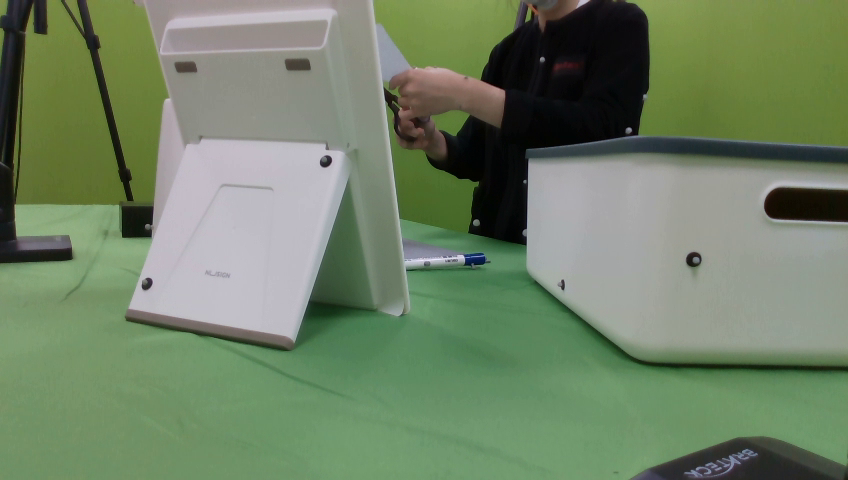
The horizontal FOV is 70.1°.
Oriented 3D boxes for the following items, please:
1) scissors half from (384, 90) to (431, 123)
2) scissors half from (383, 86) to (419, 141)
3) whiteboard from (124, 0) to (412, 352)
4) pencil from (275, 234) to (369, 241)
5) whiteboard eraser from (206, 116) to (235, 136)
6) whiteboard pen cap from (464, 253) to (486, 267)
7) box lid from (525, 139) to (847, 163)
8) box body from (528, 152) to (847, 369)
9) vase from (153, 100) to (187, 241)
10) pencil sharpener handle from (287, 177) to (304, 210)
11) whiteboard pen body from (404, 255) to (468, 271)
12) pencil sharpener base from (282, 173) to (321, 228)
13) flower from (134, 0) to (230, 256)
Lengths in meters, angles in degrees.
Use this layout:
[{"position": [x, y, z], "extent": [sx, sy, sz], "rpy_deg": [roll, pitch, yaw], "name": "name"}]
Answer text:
[{"position": [-0.052, -0.254, 1.057], "extent": [0.176, 0.040, 0.013], "rpy_deg": [22, -2, -39], "name": "scissors half"}, {"position": [-0.063, -0.237, 1.055], "extent": [0.012, 0.040, 0.176], "rpy_deg": [27, -19, 52], "name": "scissors half"}, {"position": [-0.151, -0.049, 0.472], "extent": [0.216, 0.305, 0.144], "rpy_deg": [6, 27, 24], "name": "whiteboard"}, {"position": [-0.169, -0.006, 1.036], "extent": [0.195, 0.012, 0.012], "rpy_deg": [-2, 8, -45], "name": "pencil"}, {"position": [-0.450, -0.252, 1.335], "extent": [0.056, 0.042, 0.112], "rpy_deg": [1, 7, -22], "name": "whiteboard eraser"}, {"position": [0.066, 0.027, 0.818], "extent": [0.033, 0.018, 0.018], "rpy_deg": [-5, 10, -24], "name": "whiteboard pen cap"}, {"position": [0.261, -0.078, 0.580], "extent": [0.264, 0.015, 0.371], "rpy_deg": [2, 7, -4], "name": "box lid"}, {"position": [0.258, -0.005, 0.591], "extent": [0.254, 0.160, 0.363], "rpy_deg": [2, 7, -4], "name": "box body"}, {"position": [-0.278, -0.066, 0.736], "extent": [0.098, 0.200, 0.098], "rpy_deg": [2, 9, 0], "name": "vase"}, {"position": [-0.269, -0.096, 1.257], "extent": [0.036, 0.067, 0.030], "rpy_deg": [-8, 8, -27], "name": "pencil sharpener handle"}, {"position": [0.013, 0.030, 0.792], "extent": [0.141, 0.017, 0.017], "rpy_deg": [-3, 9, -24], "name": "whiteboard pen body"}, {"position": [-0.247, -0.080, 1.212], "extent": [0.061, 0.107, 0.076], "rpy_deg": [-2, 5, -28], "name": "pencil sharpener base"}, {"position": [-0.282, -0.147, 0.713], "extent": [0.038, 0.362, 0.044], "rpy_deg": [-23, 24, -31], "name": "flower"}]
